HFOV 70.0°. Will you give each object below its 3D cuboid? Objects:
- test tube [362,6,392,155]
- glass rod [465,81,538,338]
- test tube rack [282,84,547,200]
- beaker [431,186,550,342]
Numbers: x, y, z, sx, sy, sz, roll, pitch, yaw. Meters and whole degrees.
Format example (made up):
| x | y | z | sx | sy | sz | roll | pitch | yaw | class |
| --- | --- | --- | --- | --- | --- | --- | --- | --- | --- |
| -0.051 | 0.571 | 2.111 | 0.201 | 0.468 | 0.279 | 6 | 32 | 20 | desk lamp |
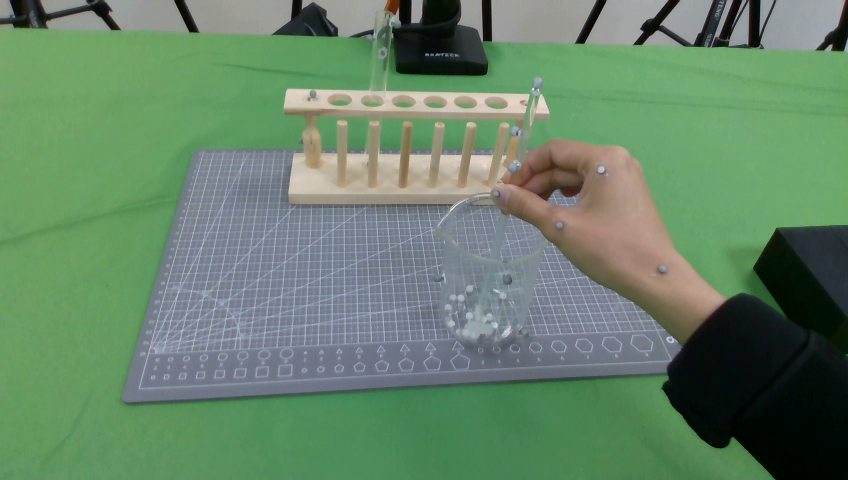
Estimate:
| x | y | z | sx | sy | sz | roll | pitch | yaw | class |
| --- | --- | --- | --- | --- | --- | --- | --- | --- | --- |
| -0.044 | -0.138 | 0.549 | 0.017 | 0.151 | 0.017 | 6 | 45 | -6 | test tube |
| 0.049 | -0.010 | 0.411 | 0.008 | 0.201 | 0.008 | 8 | 32 | -4 | glass rod |
| -0.008 | -0.092 | 0.578 | 0.243 | 0.086 | 0.066 | 0 | 44 | -6 | test tube rack |
| 0.045 | 0.022 | 0.454 | 0.084 | 0.101 | 0.073 | 1 | 43 | -3 | beaker |
